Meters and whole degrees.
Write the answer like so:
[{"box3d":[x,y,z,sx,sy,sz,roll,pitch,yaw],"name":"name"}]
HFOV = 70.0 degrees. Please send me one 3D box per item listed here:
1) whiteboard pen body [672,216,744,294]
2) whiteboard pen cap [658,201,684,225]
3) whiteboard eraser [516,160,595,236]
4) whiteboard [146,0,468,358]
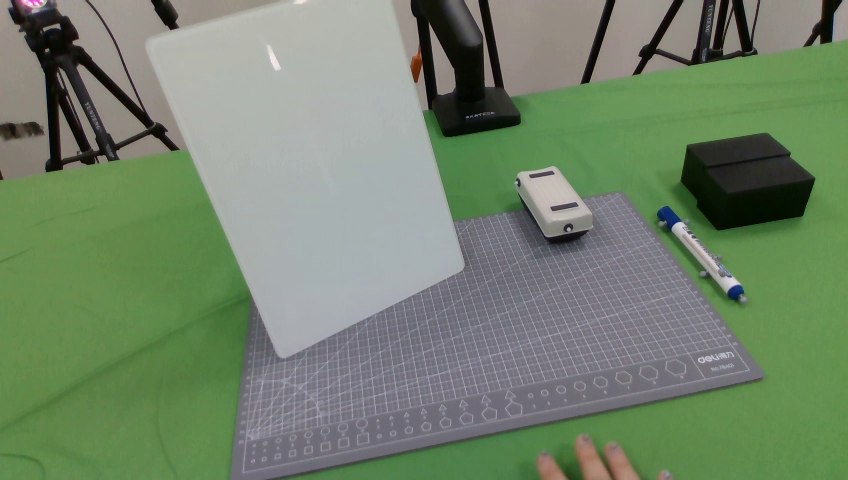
[{"box3d":[0.289,0.007,0.635,0.017,0.017,0.139,-11,38,-5],"name":"whiteboard pen body"},{"box3d":[0.278,-0.029,0.679,0.018,0.018,0.033,-12,37,-5],"name":"whiteboard pen cap"},{"box3d":[0.150,-0.049,0.701,0.055,0.042,0.111,-13,39,-5],"name":"whiteboard eraser"},{"box3d":[-0.114,-0.080,0.619,0.217,0.307,0.142,-25,22,-20],"name":"whiteboard"}]
